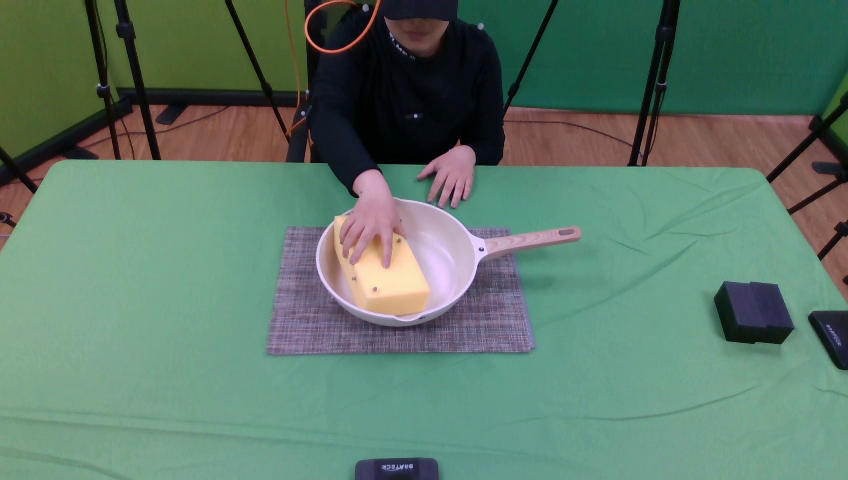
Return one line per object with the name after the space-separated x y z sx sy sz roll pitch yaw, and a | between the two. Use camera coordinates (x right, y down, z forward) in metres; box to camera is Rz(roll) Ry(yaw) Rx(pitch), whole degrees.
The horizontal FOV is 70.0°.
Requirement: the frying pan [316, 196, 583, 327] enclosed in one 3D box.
0.054 0.027 1.114 0.488 0.103 0.304 -9 48 -1 | frying pan

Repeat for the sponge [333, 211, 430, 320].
-0.084 0.041 1.098 0.118 0.061 0.205 -6 47 -25 | sponge
